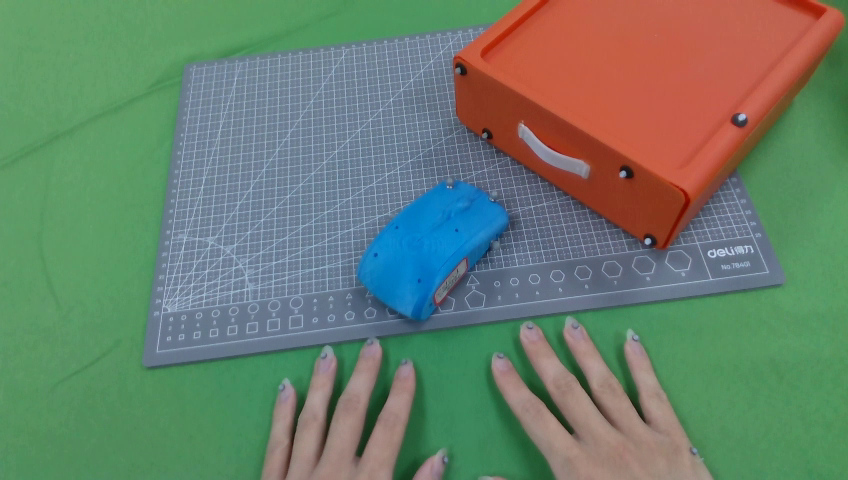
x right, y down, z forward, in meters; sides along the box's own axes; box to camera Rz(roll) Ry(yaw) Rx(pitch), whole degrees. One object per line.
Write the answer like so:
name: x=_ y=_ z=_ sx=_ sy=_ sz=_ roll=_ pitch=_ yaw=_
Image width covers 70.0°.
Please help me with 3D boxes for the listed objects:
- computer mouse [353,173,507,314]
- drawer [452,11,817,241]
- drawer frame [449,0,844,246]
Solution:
computer mouse: x=0.005 y=-0.004 z=0.434 sx=0.062 sy=0.041 sz=0.117 roll=34 pitch=64 yaw=24
drawer: x=0.162 y=-0.132 z=0.470 sx=0.193 sy=0.074 sz=0.211 roll=38 pitch=69 yaw=24
drawer frame: x=0.163 y=-0.134 z=0.469 sx=0.200 sy=0.083 sz=0.213 roll=38 pitch=69 yaw=23
